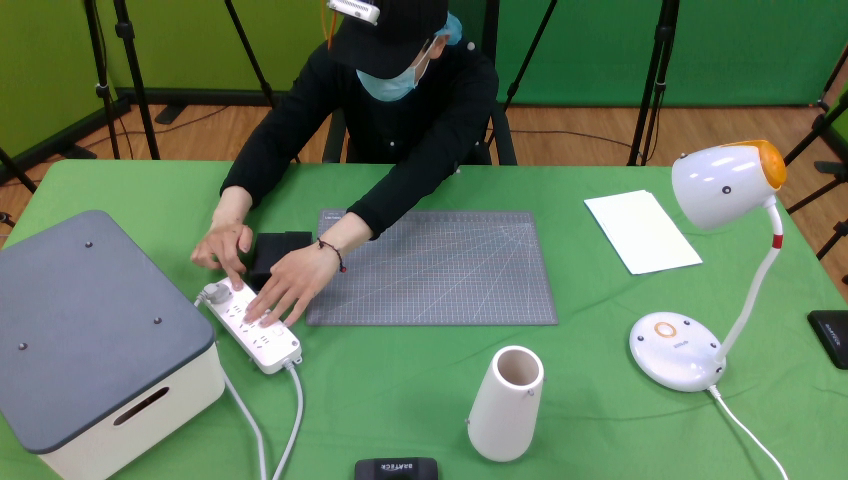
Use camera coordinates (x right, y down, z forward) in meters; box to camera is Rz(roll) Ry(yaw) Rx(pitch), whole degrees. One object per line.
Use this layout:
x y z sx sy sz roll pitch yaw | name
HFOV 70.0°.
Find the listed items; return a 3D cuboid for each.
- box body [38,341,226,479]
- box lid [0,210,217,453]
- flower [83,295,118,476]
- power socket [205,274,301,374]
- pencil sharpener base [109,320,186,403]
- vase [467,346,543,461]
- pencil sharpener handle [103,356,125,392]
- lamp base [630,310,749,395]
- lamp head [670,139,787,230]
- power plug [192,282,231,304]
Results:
-0.504 0.154 0.917 0.362 0.161 0.254 36 54 27 | box body
-0.502 0.102 0.865 0.369 0.015 0.263 36 54 27 | box lid
-0.513 0.210 0.960 0.044 0.038 0.359 5 35 -32 | flower
-0.296 0.140 1.035 0.072 0.033 0.225 -32 57 -30 | power socket
-0.419 0.187 0.919 0.077 0.107 0.061 -30 54 -27 | pencil sharpener base
0.116 0.234 0.861 0.098 0.201 0.097 1 47 -1 | vase
-0.460 0.200 0.887 0.030 0.068 0.036 -30 61 -27 | pencil sharpener handle
0.447 0.143 0.984 0.161 0.181 0.178 -24 55 -24 | lamp base
0.415 -0.078 0.812 0.113 0.123 0.112 12 70 -37 | lamp head
-0.368 0.098 1.039 0.072 0.053 0.035 -27 56 -20 | power plug
